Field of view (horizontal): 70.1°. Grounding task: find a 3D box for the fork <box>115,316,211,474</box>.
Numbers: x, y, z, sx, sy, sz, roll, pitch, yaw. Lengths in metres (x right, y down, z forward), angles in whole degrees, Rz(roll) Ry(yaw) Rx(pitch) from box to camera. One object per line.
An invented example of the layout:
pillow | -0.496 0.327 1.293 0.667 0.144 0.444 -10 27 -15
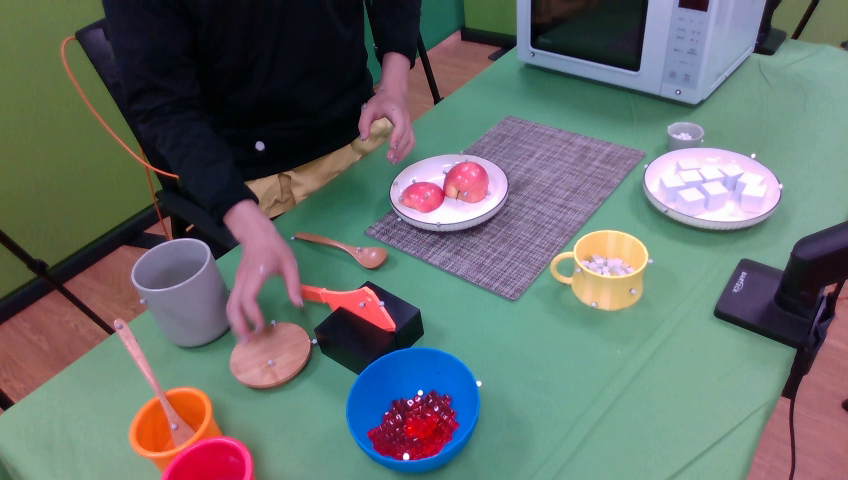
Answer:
fork | -0.308 0.179 0.708 0.028 0.018 0.207 -30 89 -23

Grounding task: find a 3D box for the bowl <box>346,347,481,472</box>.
bowl | -0.008 0.205 0.691 0.151 0.077 0.150 -4 40 4

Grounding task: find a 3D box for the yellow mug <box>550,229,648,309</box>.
yellow mug | 0.245 0.040 0.856 0.130 0.064 0.099 1 42 11

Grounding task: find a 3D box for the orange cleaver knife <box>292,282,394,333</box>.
orange cleaver knife | -0.116 0.091 0.834 0.209 0.077 0.012 2 30 48

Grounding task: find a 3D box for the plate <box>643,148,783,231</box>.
plate | 0.464 -0.080 0.986 0.207 0.039 0.206 -4 41 4

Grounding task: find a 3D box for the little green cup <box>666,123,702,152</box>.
little green cup | 0.472 -0.183 1.102 0.061 0.039 0.061 -5 41 5

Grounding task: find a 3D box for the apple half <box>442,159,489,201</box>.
apple half | 0.074 -0.110 1.047 0.080 0.053 0.075 22 46 30

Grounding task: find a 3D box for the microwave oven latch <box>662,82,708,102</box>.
microwave oven latch | 0.517 -0.298 1.203 0.078 0.029 0.030 28 53 35

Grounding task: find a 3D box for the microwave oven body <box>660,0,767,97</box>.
microwave oven body | 0.473 -0.517 1.313 0.438 0.261 0.327 26 51 34

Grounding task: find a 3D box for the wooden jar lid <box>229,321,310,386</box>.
wooden jar lid | -0.208 0.156 0.821 0.108 0.021 0.108 -2 40 2

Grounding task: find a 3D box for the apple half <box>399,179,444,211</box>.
apple half | -0.004 -0.088 1.045 0.081 0.033 0.081 -2 43 2

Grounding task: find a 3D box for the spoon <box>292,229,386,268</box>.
spoon | -0.141 0.006 0.983 0.192 0.022 0.041 18 71 25

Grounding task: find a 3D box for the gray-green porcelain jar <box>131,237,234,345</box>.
gray-green porcelain jar | -0.332 0.076 0.849 0.106 0.127 0.105 -4 41 4

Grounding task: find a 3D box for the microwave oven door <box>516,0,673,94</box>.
microwave oven door | 0.344 -0.458 1.256 0.353 0.245 0.039 26 52 33

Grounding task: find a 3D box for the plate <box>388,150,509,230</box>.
plate | 0.044 -0.083 1.042 0.209 0.038 0.208 -4 40 4
